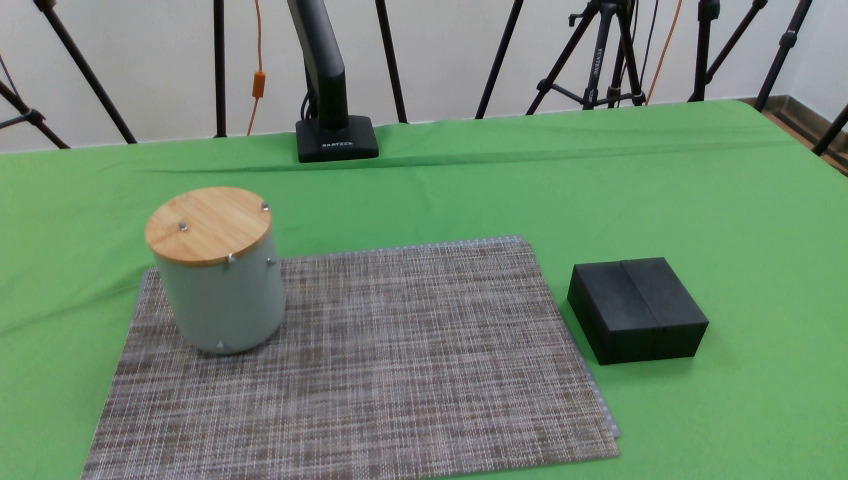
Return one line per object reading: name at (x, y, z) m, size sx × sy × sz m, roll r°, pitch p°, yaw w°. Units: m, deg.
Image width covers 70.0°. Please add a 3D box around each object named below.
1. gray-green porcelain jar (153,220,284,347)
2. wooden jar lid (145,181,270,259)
gray-green porcelain jar at (-0.195, 0.033, 0.592) m, size 0.106 × 0.127 × 0.105 m, roll 1°, pitch 39°, yaw 0°
wooden jar lid at (-0.195, -0.016, 0.552) m, size 0.108 × 0.021 × 0.107 m, roll 3°, pitch 41°, yaw -2°
